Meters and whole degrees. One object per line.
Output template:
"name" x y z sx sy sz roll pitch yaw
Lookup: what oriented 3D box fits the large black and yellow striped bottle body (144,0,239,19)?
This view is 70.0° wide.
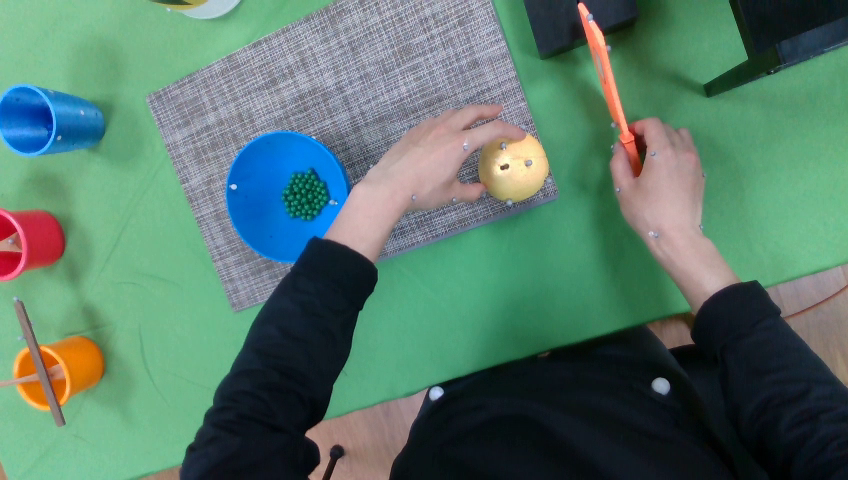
"large black and yellow striped bottle body" -0.289 -0.325 0.656 0.130 0.184 0.131 2 98 13

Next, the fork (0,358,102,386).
"fork" -0.552 0.187 0.816 0.208 0.018 0.028 -6 110 -30

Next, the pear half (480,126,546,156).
"pear half" 0.094 -0.106 0.647 0.070 0.088 0.031 0 99 21

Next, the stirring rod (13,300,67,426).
"stirring rod" -0.508 0.163 0.800 0.014 0.006 0.176 -15 96 12

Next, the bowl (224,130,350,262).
"bowl" -0.149 -0.054 0.719 0.151 0.077 0.151 2 99 13

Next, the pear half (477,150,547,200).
"pear half" 0.090 -0.070 0.645 0.076 0.110 0.056 1 97 21

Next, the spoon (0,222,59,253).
"spoon" -0.594 0.015 0.802 0.194 0.021 0.042 -17 98 -29

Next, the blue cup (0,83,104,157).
"blue cup" -0.466 -0.150 0.767 0.092 0.100 0.093 2 100 11

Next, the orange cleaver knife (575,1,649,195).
"orange cleaver knife" 0.195 -0.142 0.627 0.012 0.076 0.213 -22 122 14
